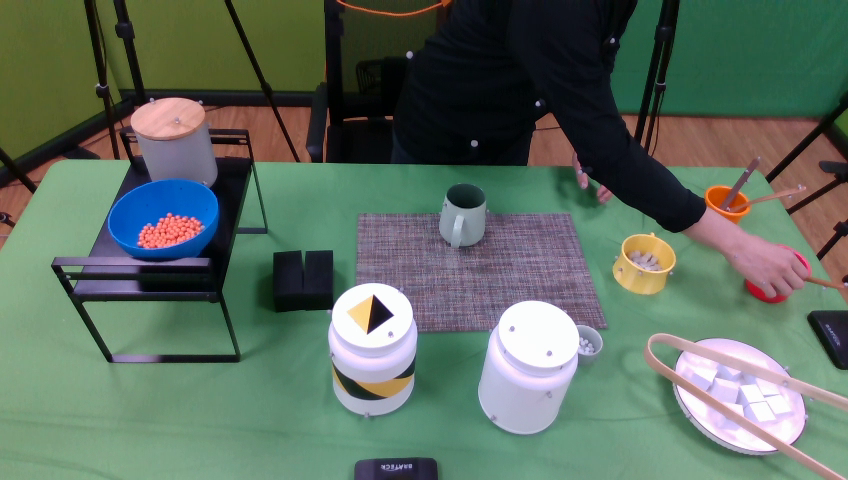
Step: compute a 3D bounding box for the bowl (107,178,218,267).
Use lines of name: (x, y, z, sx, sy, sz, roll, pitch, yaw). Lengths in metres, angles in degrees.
bowl: (-0.374, -0.014, 0.893, 0.151, 0.077, 0.150, 2, 46, -2)

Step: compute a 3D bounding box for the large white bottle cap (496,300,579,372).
large white bottle cap: (0.160, 0.133, 0.852, 0.115, 0.018, 0.114, 3, 46, -3)

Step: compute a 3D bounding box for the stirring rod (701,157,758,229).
stirring rod: (0.634, -0.096, 1.257, 0.014, 0.006, 0.176, 38, 97, 29)

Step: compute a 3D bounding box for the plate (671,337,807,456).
plate: (0.503, 0.254, 0.984, 0.208, 0.039, 0.206, 2, 46, -2)

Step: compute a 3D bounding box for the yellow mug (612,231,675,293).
yellow mug: (0.424, 0.033, 1.168, 0.100, 0.064, 0.130, 18, 47, 14)

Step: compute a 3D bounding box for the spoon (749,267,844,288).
spoon: (0.671, 0.067, 1.100, 0.042, 0.021, 0.193, -11, 4, -13)

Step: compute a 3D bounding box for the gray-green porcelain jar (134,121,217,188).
gray-green porcelain jar: (-0.397, -0.141, 0.980, 0.106, 0.127, 0.105, 2, 47, -2)

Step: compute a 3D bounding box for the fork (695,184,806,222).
fork: (0.658, -0.074, 1.229, 0.207, 0.019, 0.028, -23, 35, 37)

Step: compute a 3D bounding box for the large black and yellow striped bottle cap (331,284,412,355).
large black and yellow striped bottle cap: (-0.073, 0.111, 0.858, 0.115, 0.019, 0.114, 2, 46, -1)

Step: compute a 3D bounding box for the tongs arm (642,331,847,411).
tongs arm: (0.546, 0.227, 0.968, 0.384, 0.026, 0.050, 22, 52, 13)

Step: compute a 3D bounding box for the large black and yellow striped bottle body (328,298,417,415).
large black and yellow striped bottle body: (-0.078, 0.167, 0.920, 0.131, 0.185, 0.130, 2, 46, -2)

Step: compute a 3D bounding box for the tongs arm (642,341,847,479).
tongs arm: (0.504, 0.278, 0.918, 0.386, 0.028, 0.028, 34, 59, 22)

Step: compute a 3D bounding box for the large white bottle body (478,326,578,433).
large white bottle body: (0.156, 0.192, 0.913, 0.131, 0.185, 0.130, 2, 46, -2)

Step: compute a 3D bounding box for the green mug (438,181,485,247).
green mug: (0.071, -0.039, 1.177, 0.092, 0.105, 0.124, 12, 47, 7)

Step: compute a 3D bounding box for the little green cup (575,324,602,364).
little green cup: (0.269, 0.179, 1.036, 0.061, 0.039, 0.061, 3, 46, -2)

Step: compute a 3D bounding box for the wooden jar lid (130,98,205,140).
wooden jar lid: (-0.393, -0.183, 0.934, 0.108, 0.021, 0.107, 2, 44, -2)
